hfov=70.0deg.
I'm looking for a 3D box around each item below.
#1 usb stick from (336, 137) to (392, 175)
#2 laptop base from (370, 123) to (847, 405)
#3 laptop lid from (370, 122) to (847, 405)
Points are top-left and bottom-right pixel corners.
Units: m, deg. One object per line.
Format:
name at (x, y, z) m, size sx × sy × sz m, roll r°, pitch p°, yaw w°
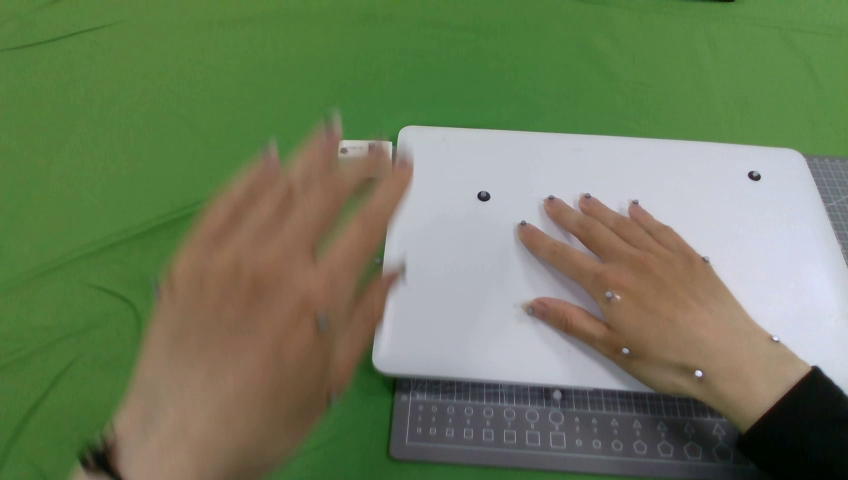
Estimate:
usb stick at (-0.043, -0.070, 0.506) m, size 0.059 × 0.027 × 0.021 m, roll 4°, pitch 54°, yaw -5°
laptop base at (0.144, 0.008, 0.474) m, size 0.354 × 0.023 × 0.233 m, roll 3°, pitch 58°, yaw 0°
laptop lid at (0.144, 0.004, 0.463) m, size 0.357 × 0.013 × 0.239 m, roll 5°, pitch 57°, yaw 1°
